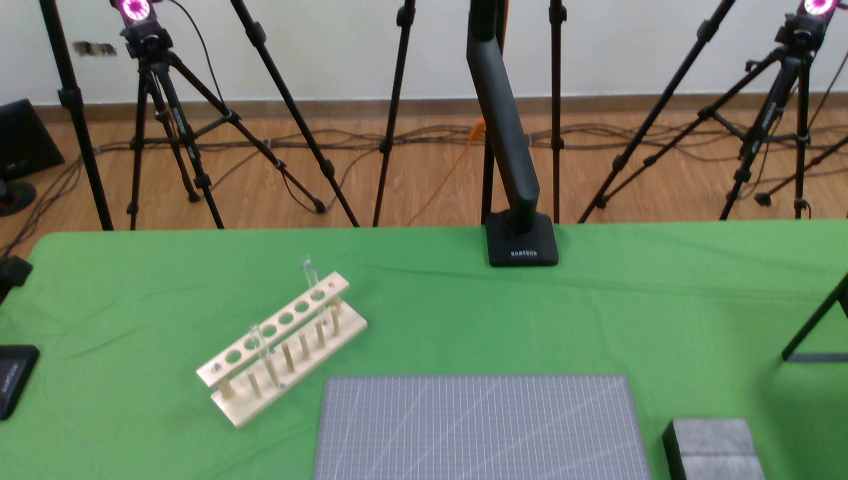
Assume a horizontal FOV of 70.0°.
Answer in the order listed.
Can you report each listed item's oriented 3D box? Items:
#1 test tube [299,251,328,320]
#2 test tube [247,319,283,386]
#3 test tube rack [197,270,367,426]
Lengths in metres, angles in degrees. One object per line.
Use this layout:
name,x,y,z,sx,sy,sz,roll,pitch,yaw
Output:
test tube,-0.162,0.071,0.900,0.017,0.151,0.017,-2,47,3
test tube,-0.218,0.157,0.833,0.017,0.152,0.017,-2,47,2
test tube rack,-0.200,0.154,0.894,0.242,0.086,0.066,-37,58,-27
